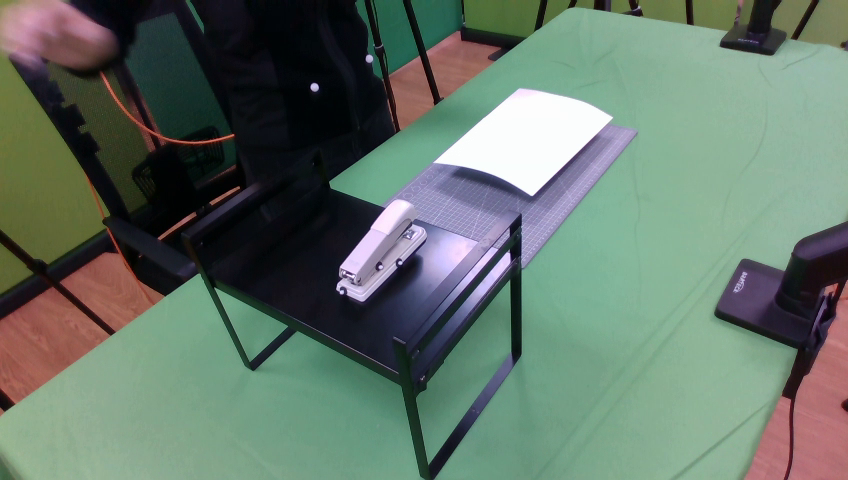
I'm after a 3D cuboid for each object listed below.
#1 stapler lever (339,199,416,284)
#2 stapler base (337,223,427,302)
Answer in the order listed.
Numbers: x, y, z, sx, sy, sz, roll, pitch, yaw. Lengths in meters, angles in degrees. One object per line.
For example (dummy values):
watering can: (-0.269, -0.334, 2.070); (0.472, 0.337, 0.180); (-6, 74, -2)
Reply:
stapler lever: (-0.050, -0.002, 0.668); (0.026, 0.040, 0.118); (18, 47, 31)
stapler base: (-0.046, 0.016, 0.685); (0.041, 0.024, 0.131); (18, 48, 31)
